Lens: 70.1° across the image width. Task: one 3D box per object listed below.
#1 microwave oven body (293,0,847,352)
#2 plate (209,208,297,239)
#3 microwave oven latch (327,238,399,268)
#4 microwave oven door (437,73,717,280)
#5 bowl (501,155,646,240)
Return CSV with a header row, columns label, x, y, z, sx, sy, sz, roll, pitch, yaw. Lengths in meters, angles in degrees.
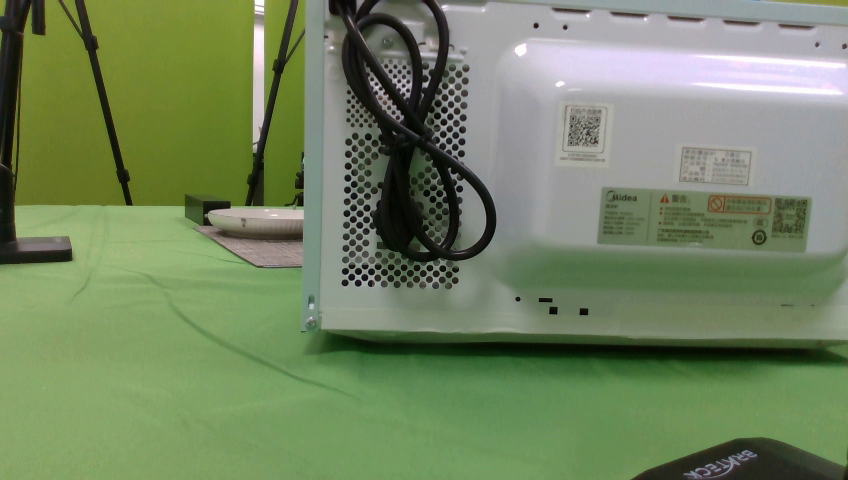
label,x,y,z,sx,sy,sz,roll,pitch,yaw
microwave oven body,0.122,-0.055,0.550,0.442,0.260,0.325,3,7,-5
plate,-0.271,-0.029,1.073,0.208,0.039,0.207,3,7,0
microwave oven latch,-0.069,0.015,0.694,0.079,0.029,0.030,3,7,-3
microwave oven door,0.183,-0.090,0.799,0.354,0.243,0.039,7,7,32
bowl,0.160,-0.041,0.641,0.151,0.077,0.151,-5,2,1
